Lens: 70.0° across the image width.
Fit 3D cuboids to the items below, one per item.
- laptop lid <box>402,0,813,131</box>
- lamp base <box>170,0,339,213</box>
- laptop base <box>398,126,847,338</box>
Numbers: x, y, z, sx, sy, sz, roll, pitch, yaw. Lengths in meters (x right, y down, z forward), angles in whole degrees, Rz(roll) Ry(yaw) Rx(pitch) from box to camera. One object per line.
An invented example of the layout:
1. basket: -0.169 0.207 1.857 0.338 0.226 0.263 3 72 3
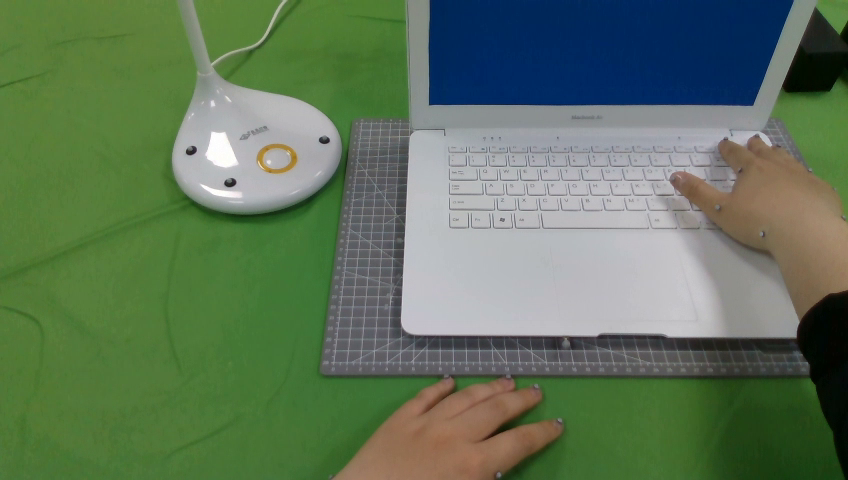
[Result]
1. laptop lid: 0.156 -0.194 0.528 0.357 0.244 0.013 -1 43 1
2. lamp base: -0.174 -0.142 0.537 0.178 0.182 0.160 31 57 27
3. laptop base: 0.157 -0.015 0.534 0.354 0.023 0.233 0 54 0
